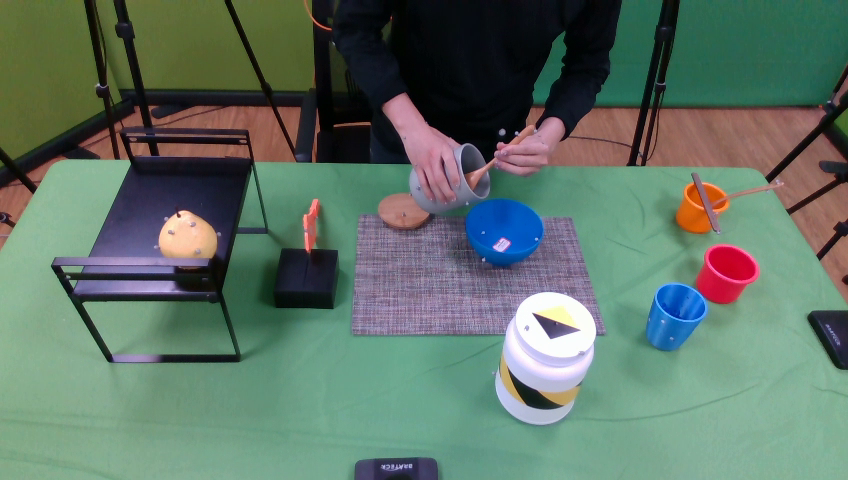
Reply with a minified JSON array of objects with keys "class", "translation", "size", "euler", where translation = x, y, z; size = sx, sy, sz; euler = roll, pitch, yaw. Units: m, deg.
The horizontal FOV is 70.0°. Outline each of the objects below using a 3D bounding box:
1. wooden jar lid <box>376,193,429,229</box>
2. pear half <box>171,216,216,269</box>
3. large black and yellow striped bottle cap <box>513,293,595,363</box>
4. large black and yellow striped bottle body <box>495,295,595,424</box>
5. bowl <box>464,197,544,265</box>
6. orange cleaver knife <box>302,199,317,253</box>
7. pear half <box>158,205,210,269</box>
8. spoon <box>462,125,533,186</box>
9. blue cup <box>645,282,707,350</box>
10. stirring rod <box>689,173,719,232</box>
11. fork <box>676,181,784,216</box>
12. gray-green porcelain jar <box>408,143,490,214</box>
[{"class":"wooden jar lid","translation":[-0.044,-0.059,1.246],"size":[0.108,0.021,0.107],"euler":[3,40,-3]},{"class":"pear half","translation":[-0.323,0.007,0.866],"size":[0.031,0.088,0.070],"euler":[25,46,20]},{"class":"large black and yellow striped bottle cap","translation":[0.186,0.123,0.863],"size":[0.115,0.019,0.114],"euler":[3,45,-3]},{"class":"large black and yellow striped bottle body","translation":[0.183,0.182,0.923],"size":[0.131,0.185,0.130],"euler":[2,46,-2]},{"class":"bowl","translation":[0.149,-0.004,1.167],"size":[0.151,0.077,0.150],"euler":[2,46,-2]},{"class":"orange cleaver knife","translation":[-0.219,-0.031,1.168],"size":[0.012,0.077,0.210],"euler":[-5,17,-3]},{"class":"pear half","translation":[-0.352,-0.015,0.872],"size":[0.056,0.110,0.076],"euler":[25,46,20]},{"class":"spoon","translation":[0.130,-0.152,1.095],"size":[0.041,0.194,0.021],"euler":[53,41,2]},{"class":"blue cup","translation":[0.425,0.136,1.042],"size":[0.093,0.101,0.092],"euler":[1,44,-1]},{"class":"stirring rod","translation":[0.566,-0.079,1.225],"size":[0.014,0.006,0.175],"euler":[2,45,2]},{"class":"fork","translation":[0.618,-0.084,1.235],"size":[0.207,0.019,0.028],"euler":[-23,21,38]},{"class":"gray-green porcelain jar","translation":[0.043,-0.110,1.127],"size":[0.126,0.106,0.105],"euler":[-17,36,33]}]
